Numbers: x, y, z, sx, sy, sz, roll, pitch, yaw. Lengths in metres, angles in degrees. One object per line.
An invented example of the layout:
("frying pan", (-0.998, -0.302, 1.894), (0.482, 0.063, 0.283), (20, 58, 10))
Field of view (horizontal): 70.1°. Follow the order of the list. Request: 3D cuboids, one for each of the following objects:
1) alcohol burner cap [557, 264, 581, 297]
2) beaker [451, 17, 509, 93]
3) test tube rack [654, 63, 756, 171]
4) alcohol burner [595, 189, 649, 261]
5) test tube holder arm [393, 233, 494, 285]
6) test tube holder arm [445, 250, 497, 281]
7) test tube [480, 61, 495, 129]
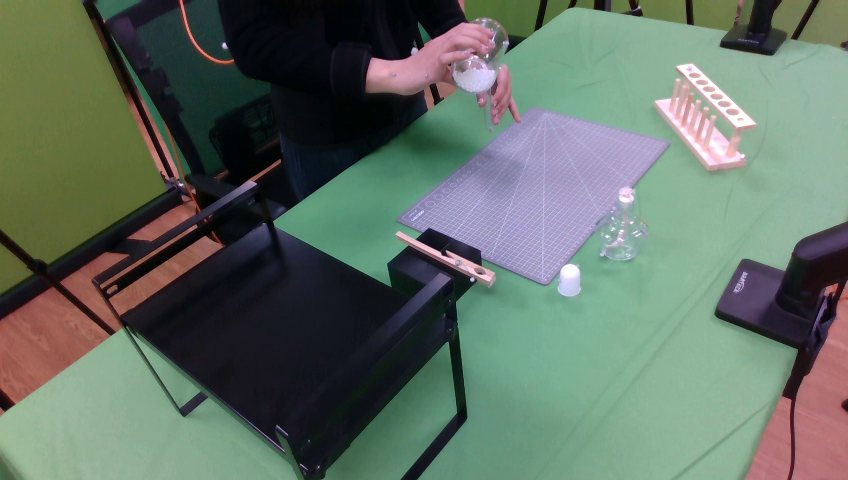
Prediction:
("alcohol burner cap", (0.209, 0.055, 0.866), (0.034, 0.048, 0.033), (-4, 42, 4))
("beaker", (0.085, -0.278, 0.925), (0.074, 0.084, 0.100), (10, 51, 12))
("test tube rack", (0.510, -0.233, 1.120), (0.067, 0.085, 0.241), (-8, 41, -1))
("alcohol burner", (0.294, -0.028, 0.894), (0.078, 0.119, 0.077), (-4, 43, 5))
("test tube holder arm", (0.024, 0.025, 0.871), (0.177, 0.015, 0.013), (22, 57, 31))
("test tube holder arm", (0.063, 0.036, 0.850), (0.087, 0.015, 0.010), (23, 58, 31))
("test tube", (0.110, -0.246, 1.045), (0.017, 0.151, 0.017), (-5, 56, 7))
